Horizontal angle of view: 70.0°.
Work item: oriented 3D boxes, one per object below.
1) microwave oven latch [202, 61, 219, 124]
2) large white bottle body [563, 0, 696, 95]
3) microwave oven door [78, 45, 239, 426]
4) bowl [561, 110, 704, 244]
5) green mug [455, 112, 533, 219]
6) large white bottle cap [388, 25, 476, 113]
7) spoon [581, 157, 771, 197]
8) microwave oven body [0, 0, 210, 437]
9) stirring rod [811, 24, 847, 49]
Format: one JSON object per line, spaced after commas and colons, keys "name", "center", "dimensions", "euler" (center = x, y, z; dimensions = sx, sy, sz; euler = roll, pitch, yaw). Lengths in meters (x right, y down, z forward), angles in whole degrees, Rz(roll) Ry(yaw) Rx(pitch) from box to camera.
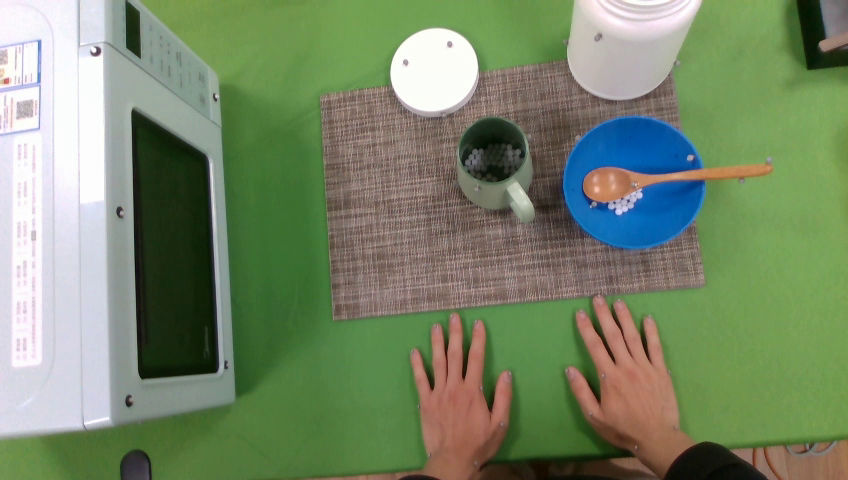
{"name": "microwave oven latch", "center": [-0.289, -0.192, 0.797], "dimensions": [0.030, 0.029, 0.079], "euler": [-8, 81, 6]}
{"name": "large white bottle body", "center": [0.226, -0.259, 0.674], "dimensions": [0.130, 0.185, 0.130], "euler": [-2, 77, 8]}
{"name": "microwave oven door", "center": [-0.282, 0.006, 0.662], "dimensions": [0.039, 0.245, 0.354], "euler": [-8, 80, 7]}
{"name": "bowl", "center": [0.232, -0.064, 0.699], "dimensions": [0.151, 0.077, 0.151], "euler": [-1, 81, 8]}
{"name": "green mug", "center": [0.088, -0.080, 0.708], "dimensions": [0.092, 0.105, 0.124], "euler": [-33, 78, 1]}
{"name": "large white bottle cap", "center": [0.010, -0.221, 0.784], "dimensions": [0.114, 0.018, 0.114], "euler": [-1, 80, 7]}
{"name": "spoon", "center": [0.270, -0.074, 0.666], "dimensions": [0.193, 0.022, 0.041], "euler": [-3, 83, 32]}
{"name": "microwave oven body", "center": [-0.430, -0.014, 0.691], "dimensions": [0.326, 0.261, 0.440], "euler": [-8, 81, 6]}
{"name": "stirring rod", "center": [0.524, -0.254, 0.679], "dimensions": [0.176, 0.006, 0.014], "euler": [-21, 86, 6]}
